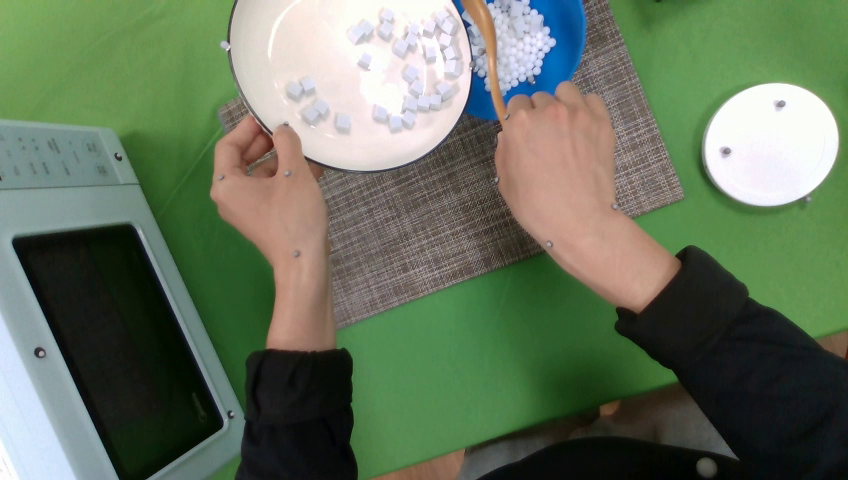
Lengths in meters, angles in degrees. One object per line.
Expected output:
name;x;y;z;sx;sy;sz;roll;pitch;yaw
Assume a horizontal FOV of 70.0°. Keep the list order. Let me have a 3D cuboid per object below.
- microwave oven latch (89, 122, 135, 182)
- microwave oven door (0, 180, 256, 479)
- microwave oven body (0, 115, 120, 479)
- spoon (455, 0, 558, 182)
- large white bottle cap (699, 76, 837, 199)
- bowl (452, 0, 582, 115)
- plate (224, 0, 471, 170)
microwave oven latch;-0.391;-0.106;0.748;0.030;0.029;0.079;-24;92;17
microwave oven door;-0.331;0.107;0.656;0.039;0.244;0.355;-25;90;18
microwave oven body;-0.473;0.126;0.705;0.326;0.260;0.441;-24;91;17
spoon;0.064;-0.130;0.496;0.021;0.042;0.192;-22;76;7
large white bottle cap;0.322;-0.095;0.571;0.114;0.018;0.115;2;99;15
bowl;0.079;-0.196;0.591;0.151;0.077;0.151;2;99;16
plate;-0.063;-0.159;0.525;0.210;0.038;0.208;2;83;-17
